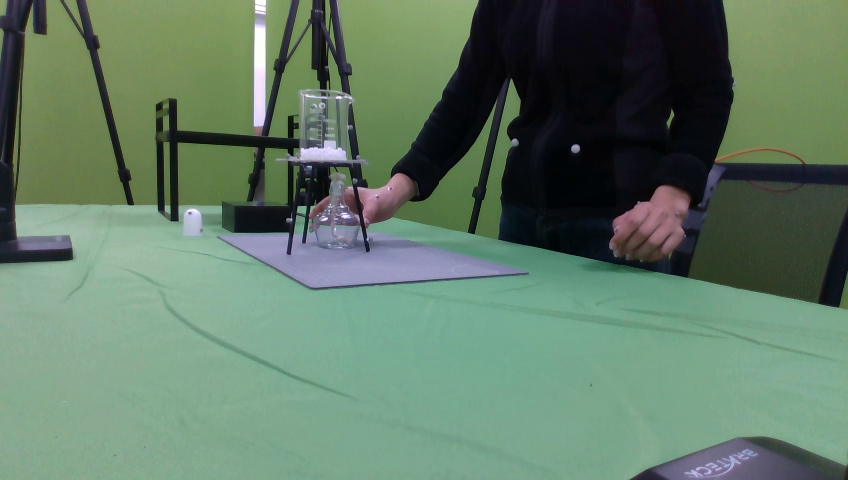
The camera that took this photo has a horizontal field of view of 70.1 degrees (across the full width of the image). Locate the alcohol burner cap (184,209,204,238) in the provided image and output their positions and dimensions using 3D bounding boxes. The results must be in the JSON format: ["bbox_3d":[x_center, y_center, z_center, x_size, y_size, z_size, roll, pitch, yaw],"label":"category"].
[{"bbox_3d":[-0.390,-0.029,1.025,0.034,0.048,0.034,2,9,0],"label":"alcohol burner cap"}]

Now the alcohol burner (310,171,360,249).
[{"bbox_3d":[-0.137,-0.047,0.937,0.078,0.119,0.078,1,5,0],"label":"alcohol burner"}]

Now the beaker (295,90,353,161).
[{"bbox_3d":[-0.146,-0.164,0.884,0.084,0.100,0.074,1,7,-6],"label":"beaker"}]

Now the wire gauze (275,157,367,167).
[{"bbox_3d":[-0.148,-0.117,0.895,0.121,0.011,0.125,3,5,-3],"label":"wire gauze"}]

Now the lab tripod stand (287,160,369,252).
[{"bbox_3d":[-0.157,-0.053,0.902,0.148,0.131,0.148,0,7,0],"label":"lab tripod stand"}]
